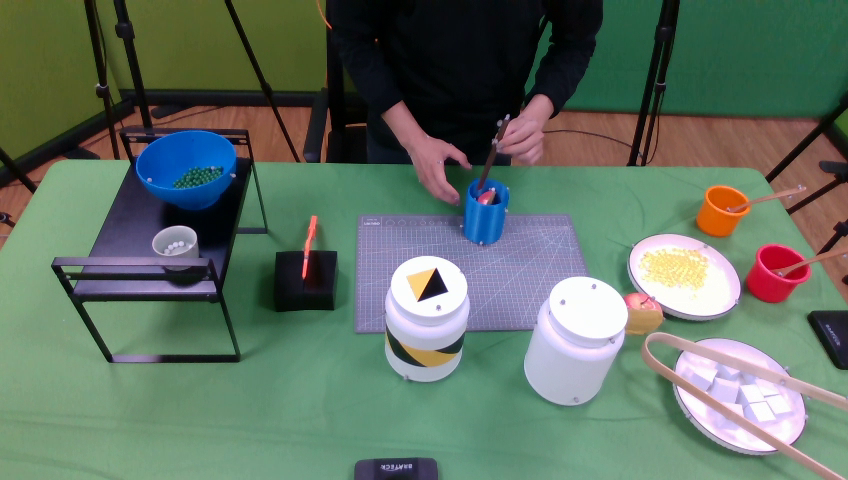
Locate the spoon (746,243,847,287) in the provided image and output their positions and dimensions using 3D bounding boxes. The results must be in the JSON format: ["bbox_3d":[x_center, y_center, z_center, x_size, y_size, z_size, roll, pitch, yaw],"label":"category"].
[{"bbox_3d":[0.702,0.044,1.126,0.194,0.022,0.041,-29,38,30],"label":"spoon"}]

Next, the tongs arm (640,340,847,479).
[{"bbox_3d":[0.500,0.277,0.919,0.386,0.028,0.028,34,59,22],"label":"tongs arm"}]

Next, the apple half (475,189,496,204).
[{"bbox_3d":[0.110,-0.067,1.195,0.033,0.081,0.081,26,49,6],"label":"apple half"}]

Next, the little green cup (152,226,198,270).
[{"bbox_3d":[-0.364,0.013,0.894,0.061,0.039,0.061,3,46,-3],"label":"little green cup"}]

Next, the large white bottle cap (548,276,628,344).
[{"bbox_3d":[0.240,0.100,0.890,0.115,0.018,0.114,3,47,-3],"label":"large white bottle cap"}]

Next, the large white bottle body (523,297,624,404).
[{"bbox_3d":[0.235,0.159,0.952,0.131,0.185,0.130,2,47,-2],"label":"large white bottle body"}]

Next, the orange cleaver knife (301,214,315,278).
[{"bbox_3d":[-0.218,0.007,1.131,0.012,0.077,0.210,7,19,-9],"label":"orange cleaver knife"}]

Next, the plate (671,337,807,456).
[{"bbox_3d":[0.504,0.254,0.984,0.208,0.039,0.206,2,46,-2],"label":"plate"}]

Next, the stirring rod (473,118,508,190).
[{"bbox_3d":[0.120,-0.153,1.105,0.014,0.177,0.006,-24,62,-31],"label":"stirring rod"}]

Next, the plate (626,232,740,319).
[{"bbox_3d":[0.489,0.071,1.157,0.209,0.038,0.208,3,46,-3],"label":"plate"}]

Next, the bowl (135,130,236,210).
[{"bbox_3d":[-0.375,-0.102,0.978,0.151,0.077,0.150,2,46,-2],"label":"bowl"}]

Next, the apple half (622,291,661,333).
[{"bbox_3d":[0.372,0.123,1.074,0.081,0.075,0.053,0,42,1],"label":"apple half"}]

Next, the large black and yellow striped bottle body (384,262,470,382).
[{"bbox_3d":[0.002,0.127,0.962,0.131,0.185,0.130,2,48,-2],"label":"large black and yellow striped bottle body"}]

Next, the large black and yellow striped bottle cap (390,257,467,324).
[{"bbox_3d":[0.007,0.072,0.898,0.115,0.019,0.114,2,47,-2],"label":"large black and yellow striped bottle cap"}]

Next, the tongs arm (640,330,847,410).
[{"bbox_3d":[0.543,0.225,0.969,0.384,0.026,0.050,22,52,13],"label":"tongs arm"}]

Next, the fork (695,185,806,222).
[{"bbox_3d":[0.658,-0.074,1.229,0.207,0.019,0.028,-23,34,37],"label":"fork"}]

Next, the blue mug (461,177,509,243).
[{"bbox_3d":[0.114,-0.070,1.211,0.082,0.106,0.115,-12,48,-15],"label":"blue mug"}]
